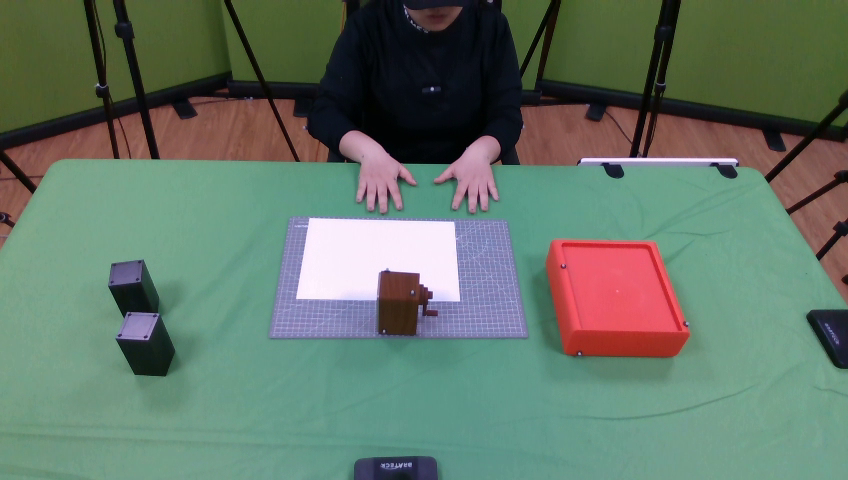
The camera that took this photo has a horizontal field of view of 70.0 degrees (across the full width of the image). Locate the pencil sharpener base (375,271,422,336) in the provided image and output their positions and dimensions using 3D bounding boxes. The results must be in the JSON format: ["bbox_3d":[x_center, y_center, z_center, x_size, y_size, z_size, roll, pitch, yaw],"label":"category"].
[{"bbox_3d":[-0.043,0.109,1.025,0.077,0.107,0.061,3,45,-2],"label":"pencil sharpener base"}]

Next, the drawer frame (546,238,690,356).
[{"bbox_3d":[0.337,0.098,1.084,0.202,0.083,0.212,1,46,-4],"label":"drawer frame"}]

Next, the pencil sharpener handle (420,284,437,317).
[{"bbox_3d":[0.009,0.104,1.017,0.030,0.068,0.036,3,39,-2],"label":"pencil sharpener handle"}]

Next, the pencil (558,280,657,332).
[{"bbox_3d":[0.334,0.121,1.105,0.193,0.012,0.012,27,49,14],"label":"pencil"}]

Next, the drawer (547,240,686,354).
[{"bbox_3d":[0.336,0.098,1.087,0.194,0.073,0.210,2,47,-3],"label":"drawer"}]
